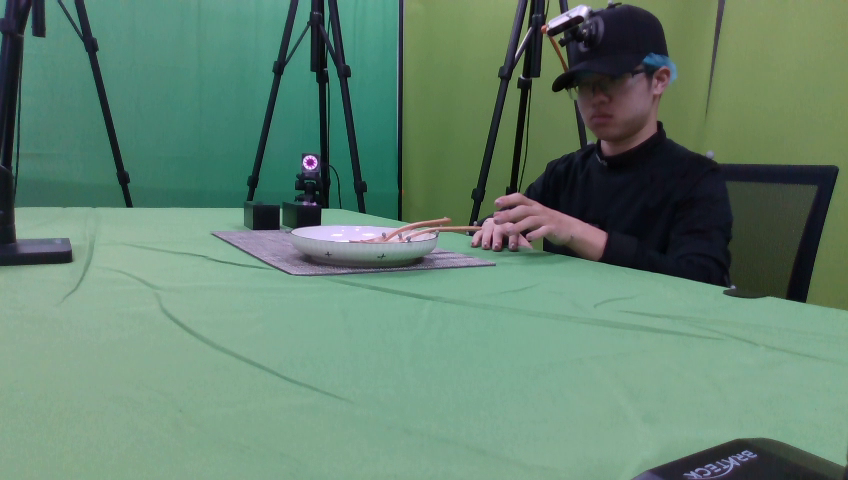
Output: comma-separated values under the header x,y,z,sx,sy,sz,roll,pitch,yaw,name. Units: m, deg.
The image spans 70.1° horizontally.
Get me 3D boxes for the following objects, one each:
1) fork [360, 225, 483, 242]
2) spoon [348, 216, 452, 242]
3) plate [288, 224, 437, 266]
x,y,z,sx,sy,sz,roll,pitch,yaw,name
0.002,-0.009,0.893,0.208,0.018,0.028,-11,10,-30,fork
-0.030,-0.015,0.923,0.195,0.021,0.041,-19,16,-36,spoon
-0.086,0.007,0.852,0.208,0.039,0.207,2,7,0,plate
